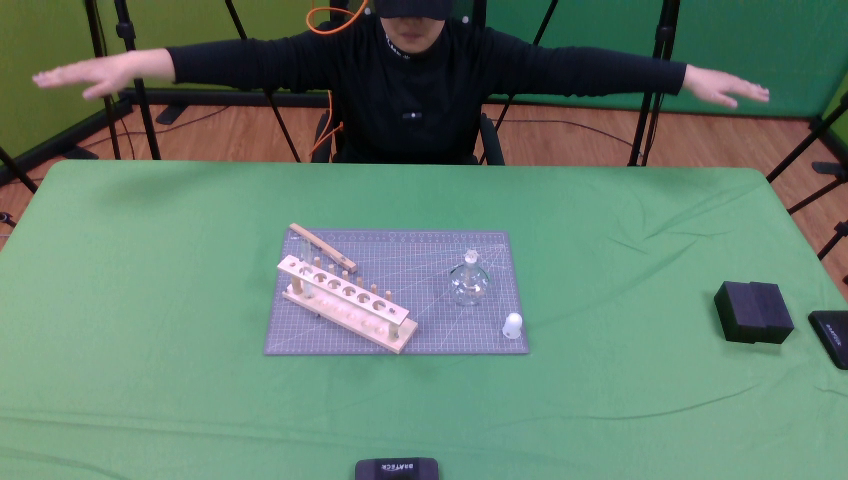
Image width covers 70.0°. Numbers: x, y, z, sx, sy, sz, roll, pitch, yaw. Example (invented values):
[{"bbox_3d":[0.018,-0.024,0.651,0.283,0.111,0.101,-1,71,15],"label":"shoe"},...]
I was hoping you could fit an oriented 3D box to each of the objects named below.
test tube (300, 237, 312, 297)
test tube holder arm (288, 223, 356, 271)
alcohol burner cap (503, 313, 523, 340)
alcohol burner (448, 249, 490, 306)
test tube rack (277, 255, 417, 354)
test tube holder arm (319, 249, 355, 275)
[{"bbox_3d":[-0.198,0.049,1.019,0.017,0.151,0.017,4,49,-5],"label":"test tube"},{"bbox_3d":[-0.199,0.011,1.169,0.177,0.013,0.015,32,46,26],"label":"test tube holder arm"},{"bbox_3d":[0.155,0.147,1.051,0.034,0.048,0.033,1,46,-1],"label":"alcohol burner cap"},{"bbox_3d":[0.081,0.062,1.078,0.078,0.120,0.077,1,45,-1],"label":"alcohol burner"},{"bbox_3d":[-0.132,0.099,1.045,0.241,0.085,0.066,23,49,17],"label":"test tube rack"},{"bbox_3d":[-0.166,0.038,1.154,0.087,0.010,0.015,37,48,21],"label":"test tube holder arm"}]
